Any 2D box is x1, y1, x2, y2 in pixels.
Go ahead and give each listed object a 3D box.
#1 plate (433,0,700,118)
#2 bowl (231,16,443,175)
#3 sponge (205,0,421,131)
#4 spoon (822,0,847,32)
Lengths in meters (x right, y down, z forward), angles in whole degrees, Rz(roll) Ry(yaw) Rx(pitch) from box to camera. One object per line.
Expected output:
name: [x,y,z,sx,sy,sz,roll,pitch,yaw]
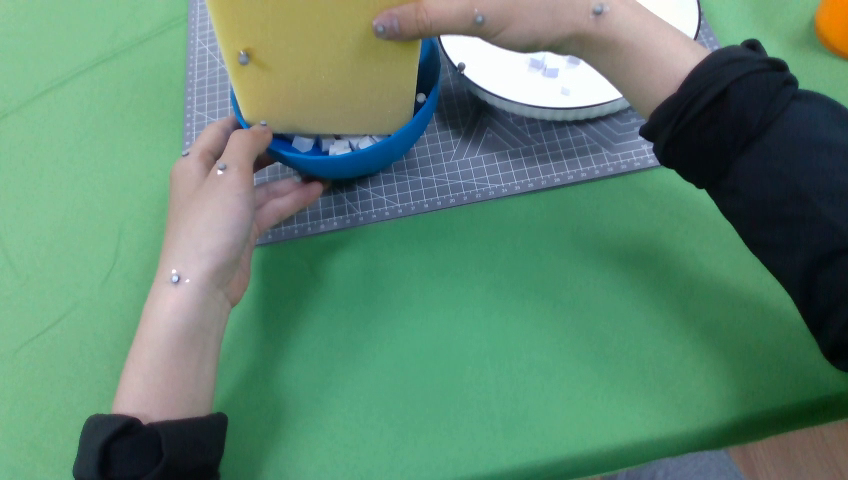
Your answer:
plate: [0.112,-0.180,0.497,0.209,0.038,0.207,-3,63,6]
bowl: [-0.058,-0.102,0.456,0.151,0.077,0.150,-2,63,4]
sponge: [-0.062,-0.149,0.355,0.118,0.208,0.060,-2,64,-4]
spoon: [0.381,-0.216,0.422,0.022,0.194,0.041,6,58,-41]
